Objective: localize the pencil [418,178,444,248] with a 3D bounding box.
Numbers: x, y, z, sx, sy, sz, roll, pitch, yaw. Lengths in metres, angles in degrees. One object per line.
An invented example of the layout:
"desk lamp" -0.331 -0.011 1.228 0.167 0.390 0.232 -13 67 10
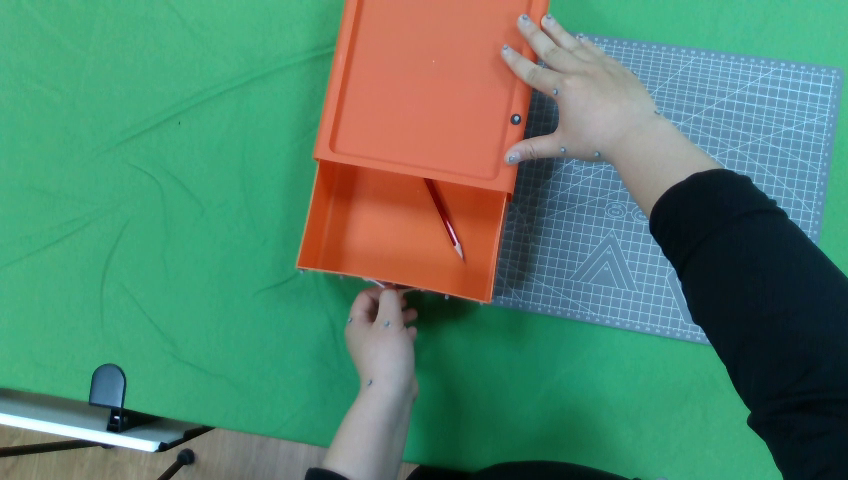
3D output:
"pencil" -0.004 -0.069 0.639 0.012 0.012 0.194 -18 92 5

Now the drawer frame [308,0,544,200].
"drawer frame" 0.005 -0.161 0.616 0.201 0.083 0.213 10 87 7

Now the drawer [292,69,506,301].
"drawer" -0.014 -0.055 0.613 0.194 0.073 0.211 10 87 7
